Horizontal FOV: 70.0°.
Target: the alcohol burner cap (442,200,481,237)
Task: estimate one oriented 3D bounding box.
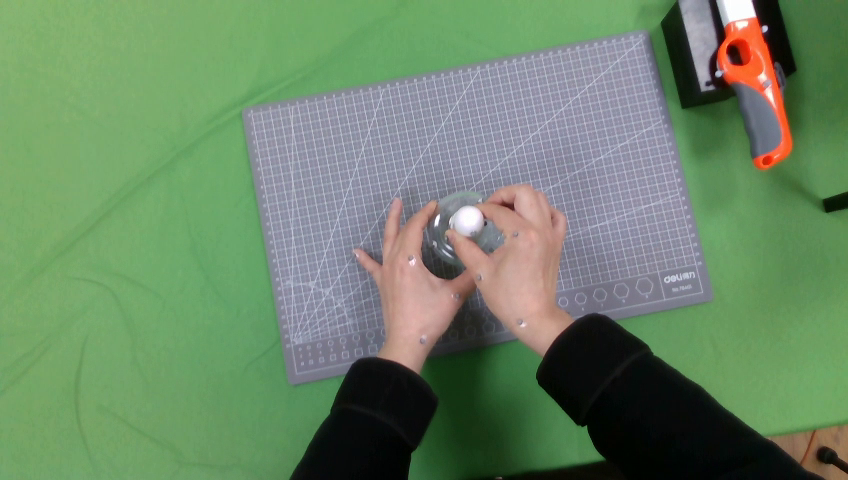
[{"bbox_3d":[0.037,-0.021,0.554,0.034,0.048,0.034,1,84,-9],"label":"alcohol burner cap"}]

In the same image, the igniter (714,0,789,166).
[{"bbox_3d":[0.312,-0.208,0.601,0.057,0.025,0.275,-10,82,1],"label":"igniter"}]

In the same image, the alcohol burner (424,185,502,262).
[{"bbox_3d":[0.038,-0.018,0.585,0.078,0.119,0.078,0,86,1],"label":"alcohol burner"}]
